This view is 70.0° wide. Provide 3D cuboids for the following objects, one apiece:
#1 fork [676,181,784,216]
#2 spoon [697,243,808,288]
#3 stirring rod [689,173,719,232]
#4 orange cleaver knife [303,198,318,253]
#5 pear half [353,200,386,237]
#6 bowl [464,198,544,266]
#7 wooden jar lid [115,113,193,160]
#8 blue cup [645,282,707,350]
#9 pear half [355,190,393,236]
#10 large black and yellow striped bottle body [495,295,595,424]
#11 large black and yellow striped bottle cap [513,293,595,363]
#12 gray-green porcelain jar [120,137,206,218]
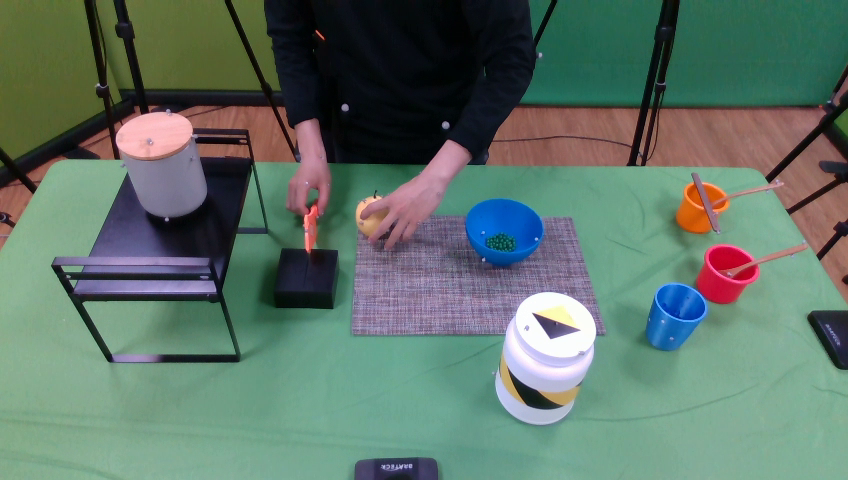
[{"bbox_3d":[0.618,-0.083,1.235,0.019,0.207,0.028,55,40,-15],"label":"fork"},{"bbox_3d":[0.601,0.045,1.115,0.194,0.022,0.041,-29,34,30],"label":"spoon"},{"bbox_3d":[0.566,-0.079,1.225,0.014,0.006,0.175,2,45,2],"label":"stirring rod"},{"bbox_3d":[-0.218,-0.032,1.168,0.012,0.077,0.210,-2,17,-3],"label":"orange cleaver knife"},{"bbox_3d":[-0.108,-0.036,1.168,0.070,0.088,0.031,19,47,4],"label":"pear half"},{"bbox_3d":[0.149,-0.004,1.167,0.151,0.077,0.150,2,46,-2],"label":"bowl"},{"bbox_3d":[-0.399,-0.151,0.900,0.108,0.021,0.107,3,46,-3],"label":"wooden jar lid"},{"bbox_3d":[0.425,0.136,1.042,0.093,0.101,0.092,1,44,-1],"label":"blue cup"},{"bbox_3d":[-0.094,-0.065,1.185,0.076,0.110,0.055,20,49,4],"label":"pear half"},{"bbox_3d":[0.183,0.182,0.923,0.131,0.185,0.130,2,46,-2],"label":"large black and yellow striped bottle body"},{"bbox_3d":[0.186,0.123,0.863,0.115,0.019,0.114,3,45,-3],"label":"large black and yellow striped bottle cap"},{"bbox_3d":[-0.403,-0.106,0.946,0.106,0.127,0.105,3,46,-2],"label":"gray-green porcelain jar"}]
